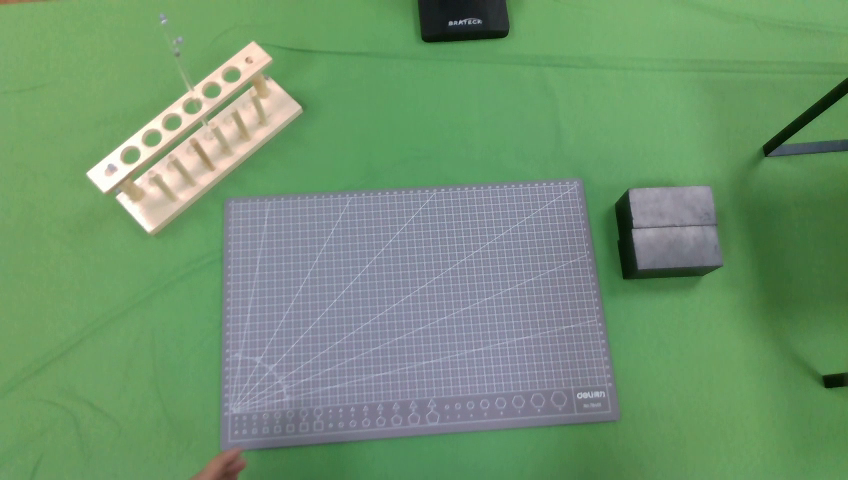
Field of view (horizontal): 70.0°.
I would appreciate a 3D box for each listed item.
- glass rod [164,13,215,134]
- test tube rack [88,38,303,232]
[{"bbox_3d":[-0.257,-0.177,0.674,0.008,0.201,0.008,2,66,-5],"label":"glass rod"},{"bbox_3d":[-0.264,-0.125,0.727,0.066,0.085,0.242,44,77,11],"label":"test tube rack"}]
